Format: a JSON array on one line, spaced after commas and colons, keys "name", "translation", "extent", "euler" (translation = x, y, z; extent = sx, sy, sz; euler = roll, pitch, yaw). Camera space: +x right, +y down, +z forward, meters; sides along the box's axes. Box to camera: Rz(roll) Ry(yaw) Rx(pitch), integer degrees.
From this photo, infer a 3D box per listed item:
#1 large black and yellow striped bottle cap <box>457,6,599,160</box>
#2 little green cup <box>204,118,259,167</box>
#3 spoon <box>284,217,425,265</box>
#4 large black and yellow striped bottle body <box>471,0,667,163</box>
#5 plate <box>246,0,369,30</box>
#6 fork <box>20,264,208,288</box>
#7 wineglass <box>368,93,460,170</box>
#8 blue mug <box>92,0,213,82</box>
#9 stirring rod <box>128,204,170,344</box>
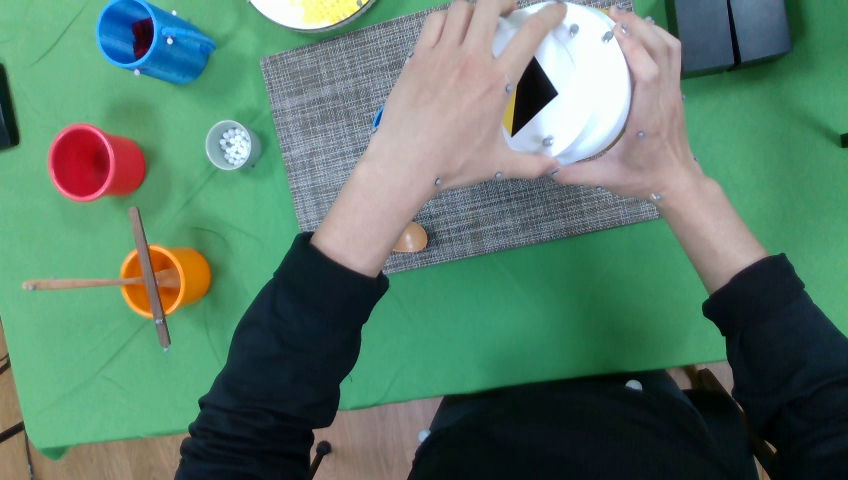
[{"name": "large black and yellow striped bottle cap", "translation": [0.077, -0.118, 0.466], "extent": [0.114, 0.019, 0.115], "euler": [12, 111, 34]}, {"name": "little green cup", "translation": [-0.243, -0.122, 0.770], "extent": [0.061, 0.038, 0.061], "euler": [1, 95, 12]}, {"name": "spoon", "translation": [-0.090, 0.007, 0.756], "extent": [0.193, 0.021, 0.042], "euler": [-13, 114, 12]}, {"name": "large black and yellow striped bottle body", "translation": [0.125, -0.139, 0.531], "extent": [0.130, 0.184, 0.131], "euler": [12, 111, 33]}, {"name": "plate", "translation": [-0.135, -0.357, 0.729], "extent": [0.209, 0.038, 0.209], "euler": [1, 96, 11]}, {"name": "fork", "translation": [-0.379, 0.048, 0.755], "extent": [0.208, 0.018, 0.028], "euler": [-2, 102, -32]}, {"name": "wineglass", "translation": [-0.005, -0.112, 0.652], "extent": [0.073, 0.172, 0.074], "euler": [1, 94, 12]}, {"name": "blue mug", "translation": [-0.319, -0.245, 0.741], "extent": [0.116, 0.106, 0.082], "euler": [2, 95, 11]}, {"name": "stirring rod", "translation": [-0.338, 0.042, 0.744], "extent": [0.014, 0.006, 0.176], "euler": [-12, 92, 13]}]
